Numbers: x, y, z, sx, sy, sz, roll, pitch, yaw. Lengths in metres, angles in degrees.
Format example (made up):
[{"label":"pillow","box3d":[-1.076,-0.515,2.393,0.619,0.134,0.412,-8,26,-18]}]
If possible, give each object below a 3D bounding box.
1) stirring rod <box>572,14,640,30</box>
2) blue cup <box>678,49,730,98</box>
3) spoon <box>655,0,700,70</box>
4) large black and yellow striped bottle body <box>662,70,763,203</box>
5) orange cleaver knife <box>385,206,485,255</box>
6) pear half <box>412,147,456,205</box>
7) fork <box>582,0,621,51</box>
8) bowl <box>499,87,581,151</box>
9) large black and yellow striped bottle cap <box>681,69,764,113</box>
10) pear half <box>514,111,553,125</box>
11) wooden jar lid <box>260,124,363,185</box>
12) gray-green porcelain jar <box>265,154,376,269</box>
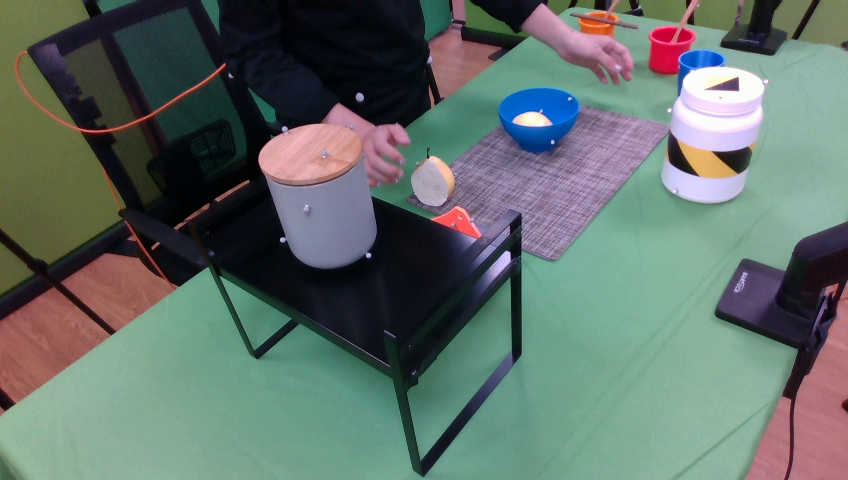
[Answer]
[{"label":"stirring rod","box3d":[0.420,-0.507,1.406,0.174,0.006,0.014,28,63,37]},{"label":"blue cup","box3d":[0.542,-0.310,1.194,0.092,0.101,0.092,-6,41,6]},{"label":"spoon","box3d":[0.568,-0.463,1.337,0.041,0.022,0.193,30,97,37]},{"label":"large black and yellow striped bottle body","box3d":[0.464,-0.166,0.976,0.131,0.185,0.130,-5,41,5]},{"label":"orange cleaver knife","box3d":[0.012,-0.010,0.942,0.012,0.077,0.210,-37,19,-35]},{"label":"pear half","box3d":[0.019,-0.120,1.042,0.076,0.110,0.056,12,45,16]},{"label":"fork","box3d":[0.446,-0.538,1.438,0.207,0.019,0.028,-57,36,12]},{"label":"bowl","box3d":[0.220,-0.223,1.155,0.151,0.077,0.150,-4,40,4]},{"label":"large black and yellow striped bottle cap","box3d":[0.453,-0.229,0.921,0.115,0.019,0.114,-4,39,4]},{"label":"pear half","box3d":[0.214,-0.225,1.149,0.087,0.031,0.070,12,49,14]},{"label":"wooden jar lid","box3d":[-0.118,-0.088,0.645,0.108,0.021,0.108,-4,40,4]},{"label":"gray-green porcelain jar","box3d":[-0.112,-0.039,0.685,0.106,0.127,0.105,-4,40,4]}]
